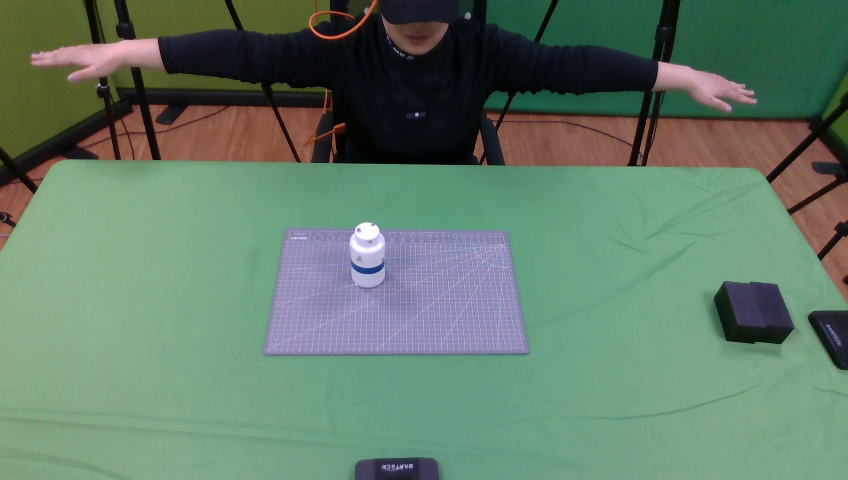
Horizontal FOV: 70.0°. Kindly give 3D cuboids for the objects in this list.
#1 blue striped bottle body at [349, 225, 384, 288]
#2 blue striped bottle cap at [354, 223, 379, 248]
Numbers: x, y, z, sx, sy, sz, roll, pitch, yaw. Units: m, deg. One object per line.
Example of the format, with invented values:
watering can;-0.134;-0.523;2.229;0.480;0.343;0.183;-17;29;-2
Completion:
blue striped bottle body;-0.103;0.026;1.093;0.063;0.121;0.062;2;46;-2
blue striped bottle cap;-0.100;-0.009;1.057;0.044;0.021;0.044;2;46;-2
